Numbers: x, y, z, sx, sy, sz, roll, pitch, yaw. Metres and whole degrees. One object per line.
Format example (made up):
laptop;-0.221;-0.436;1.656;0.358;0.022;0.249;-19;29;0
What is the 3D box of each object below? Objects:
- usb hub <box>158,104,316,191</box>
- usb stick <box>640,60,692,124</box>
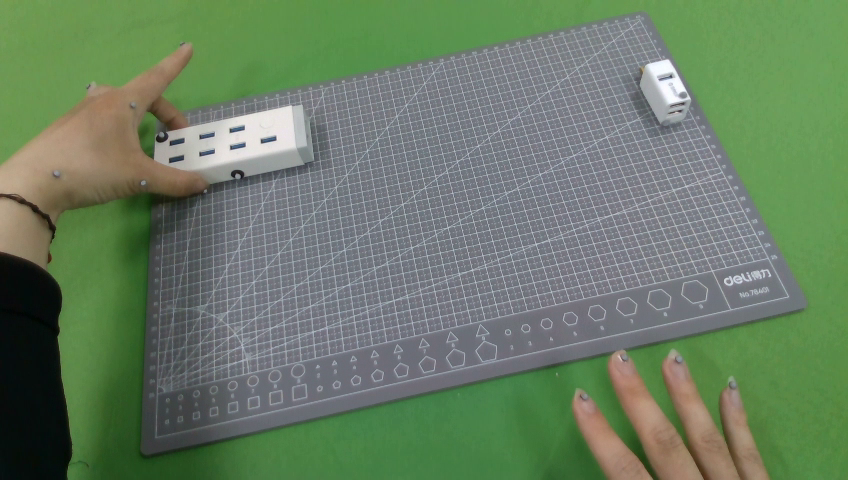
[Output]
usb hub;-0.155;-0.078;0.503;0.125;0.025;0.049;-11;60;-1
usb stick;0.191;-0.124;0.486;0.021;0.027;0.058;-14;57;1
